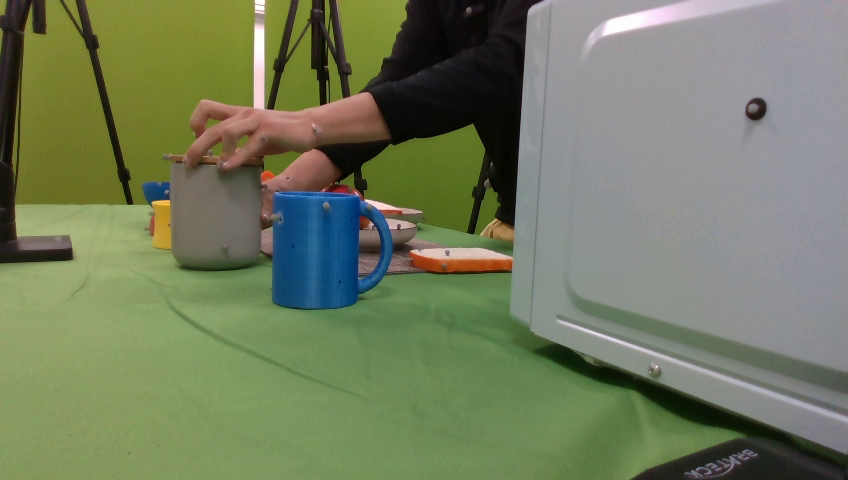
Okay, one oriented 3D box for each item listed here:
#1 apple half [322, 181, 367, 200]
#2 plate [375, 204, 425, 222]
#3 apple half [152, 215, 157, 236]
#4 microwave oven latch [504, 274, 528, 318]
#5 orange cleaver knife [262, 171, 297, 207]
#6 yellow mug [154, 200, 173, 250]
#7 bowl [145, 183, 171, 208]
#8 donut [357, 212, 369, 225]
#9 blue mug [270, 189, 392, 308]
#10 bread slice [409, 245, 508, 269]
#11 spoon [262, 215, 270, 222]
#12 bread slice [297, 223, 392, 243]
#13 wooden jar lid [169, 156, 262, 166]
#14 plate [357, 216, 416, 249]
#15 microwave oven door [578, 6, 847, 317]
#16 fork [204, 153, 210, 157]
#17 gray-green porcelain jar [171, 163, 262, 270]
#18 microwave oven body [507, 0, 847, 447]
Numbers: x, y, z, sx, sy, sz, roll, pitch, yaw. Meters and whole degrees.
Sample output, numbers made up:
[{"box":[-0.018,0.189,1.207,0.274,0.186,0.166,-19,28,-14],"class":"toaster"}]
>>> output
[{"box":[-0.127,-0.077,0.955,0.081,0.033,0.081,1,17,0],"class":"apple half"},{"box":[-0.102,-0.053,1.299,0.209,0.038,0.209,2,8,0],"class":"plate"},{"box":[-0.415,-0.034,1.017,0.081,0.053,0.074,1,10,-8],"class":"apple half"},{"box":[0.100,0.041,0.470,0.079,0.029,0.030,-1,7,-27],"class":"microwave oven latch"},{"box":[-0.283,-0.086,1.343,0.212,0.077,0.012,24,-16,-41],"class":"orange cleaver knife"},{"box":[-0.337,-0.023,0.899,0.130,0.064,0.100,8,9,34],"class":"yellow mug"},{"box":[-0.459,-0.068,1.175,0.151,0.077,0.151,3,7,0],"class":"bowl"},{"box":[-0.133,-0.042,0.959,0.099,0.048,0.099,0,7,0],"class":"donut"},{"box":[-0.090,0.005,0.588,0.117,0.106,0.082,1,7,-11],"class":"blue mug"},{"box":[0.048,0.021,0.816,0.132,0.019,0.104,0,7,-24],"class":"bread slice"},{"box":[-0.200,-0.032,0.962,0.041,0.021,0.195,3,-1,32],"class":"spoon"},{"box":[-0.121,-0.013,0.970,0.106,0.018,0.135,9,10,41],"class":"bread slice"},{"box":[-0.255,-0.093,0.743,0.108,0.020,0.108,2,9,0],"class":"wooden jar lid"},{"box":[-0.116,-0.014,0.967,0.208,0.039,0.207,2,7,0],"class":"plate"},{"box":[0.294,-0.067,0.570,0.358,0.243,0.039,-3,9,-31],"class":"microwave oven door"},{"box":[-0.480,-0.135,1.411,0.028,0.018,0.207,1,-34,-1],"class":"fork"},{"box":[-0.256,-0.031,0.751,0.106,0.126,0.106,2,7,0],"class":"gray-green porcelain jar"},{"box":[0.331,-0.042,0.425,0.444,0.260,0.324,-2,8,-31],"class":"microwave oven body"}]
